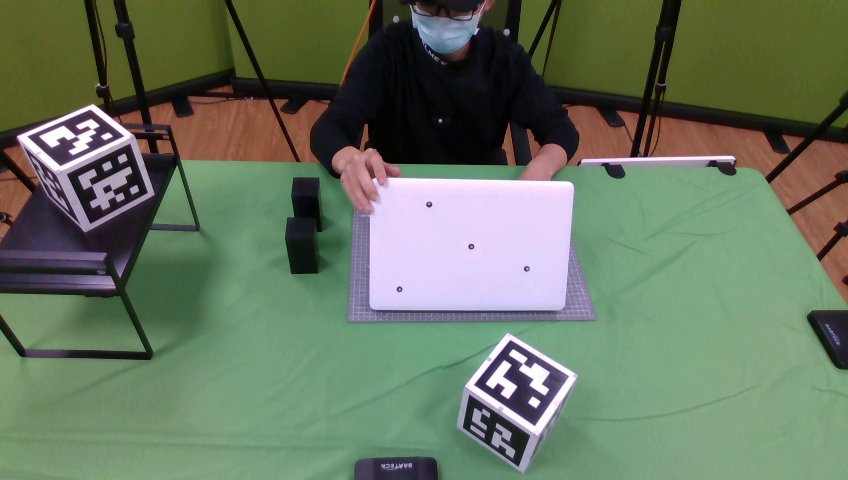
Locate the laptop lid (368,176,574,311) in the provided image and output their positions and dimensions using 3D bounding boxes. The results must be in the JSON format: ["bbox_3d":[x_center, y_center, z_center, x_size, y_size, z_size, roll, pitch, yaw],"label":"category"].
[{"bbox_3d":[0.080,0.009,1.049,0.357,0.242,0.013,2,9,-3],"label":"laptop lid"}]

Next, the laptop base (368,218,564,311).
[{"bbox_3d":[0.074,0.044,1.160,0.354,0.023,0.234,0,43,-3],"label":"laptop base"}]
